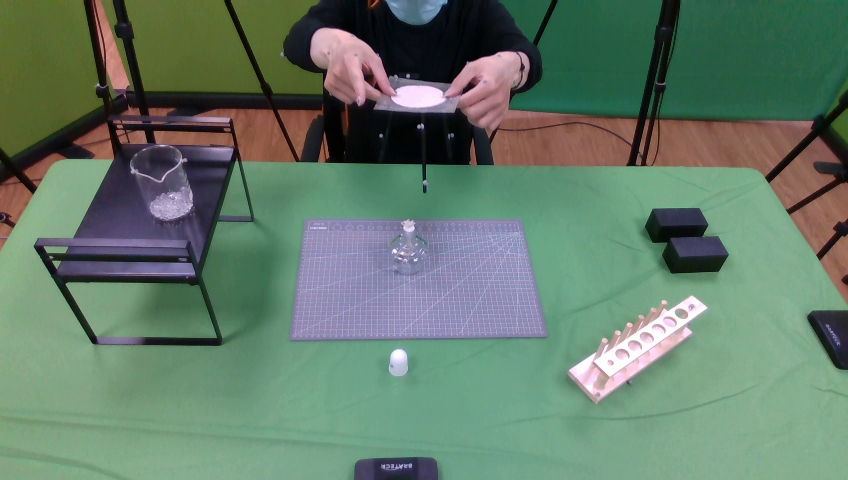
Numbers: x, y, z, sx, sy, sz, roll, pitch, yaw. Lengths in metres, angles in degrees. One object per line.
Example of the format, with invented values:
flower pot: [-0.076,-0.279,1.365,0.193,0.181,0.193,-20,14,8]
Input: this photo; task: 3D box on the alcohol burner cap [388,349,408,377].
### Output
alcohol burner cap: [-0.042,0.197,0.989,0.034,0.048,0.033,3,46,-2]

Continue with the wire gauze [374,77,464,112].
wire gauze: [-0.005,-0.222,0.929,0.121,0.011,0.124,8,34,6]

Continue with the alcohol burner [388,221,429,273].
alcohol burner: [-0.028,0.006,1.118,0.078,0.119,0.077,2,48,-2]

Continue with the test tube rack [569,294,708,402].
test tube rack: [0.360,0.167,1.014,0.242,0.085,0.066,-25,53,-25]

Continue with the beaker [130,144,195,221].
beaker: [-0.403,-0.085,0.944,0.074,0.101,0.083,-15,50,-17]

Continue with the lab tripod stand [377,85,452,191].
lab tripod stand: [-0.007,-0.172,0.974,0.148,0.132,0.147,1,36,-1]
